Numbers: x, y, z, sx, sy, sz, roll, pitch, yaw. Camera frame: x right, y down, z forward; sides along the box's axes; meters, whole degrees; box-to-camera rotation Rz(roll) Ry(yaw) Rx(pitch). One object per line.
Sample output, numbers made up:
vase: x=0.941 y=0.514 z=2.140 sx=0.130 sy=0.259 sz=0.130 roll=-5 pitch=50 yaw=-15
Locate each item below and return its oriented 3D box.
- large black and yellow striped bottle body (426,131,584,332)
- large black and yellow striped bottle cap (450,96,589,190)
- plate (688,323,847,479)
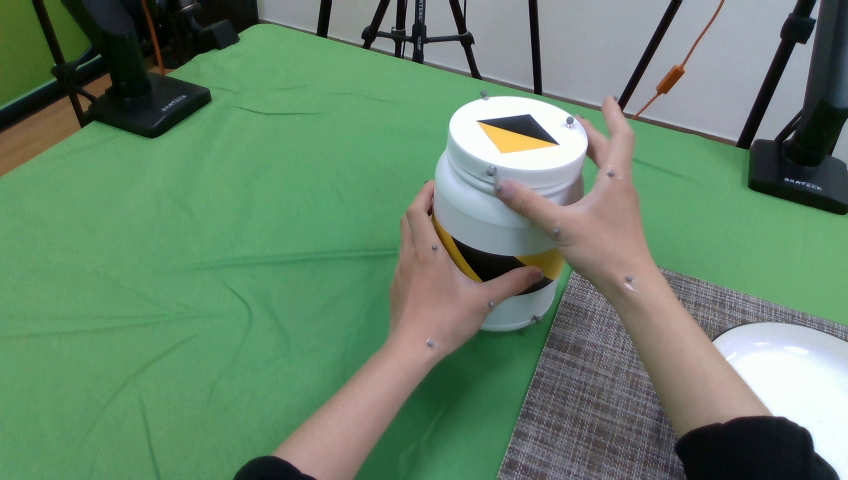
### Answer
large black and yellow striped bottle body: x=0.071 y=-0.019 z=0.558 sx=0.131 sy=0.185 sz=0.129 roll=2 pitch=43 yaw=-2
large black and yellow striped bottle cap: x=0.078 y=-0.083 z=0.500 sx=0.115 sy=0.019 sz=0.114 roll=2 pitch=43 yaw=-1
plate: x=0.318 y=0.158 z=0.492 sx=0.208 sy=0.039 sz=0.205 roll=3 pitch=42 yaw=-2
